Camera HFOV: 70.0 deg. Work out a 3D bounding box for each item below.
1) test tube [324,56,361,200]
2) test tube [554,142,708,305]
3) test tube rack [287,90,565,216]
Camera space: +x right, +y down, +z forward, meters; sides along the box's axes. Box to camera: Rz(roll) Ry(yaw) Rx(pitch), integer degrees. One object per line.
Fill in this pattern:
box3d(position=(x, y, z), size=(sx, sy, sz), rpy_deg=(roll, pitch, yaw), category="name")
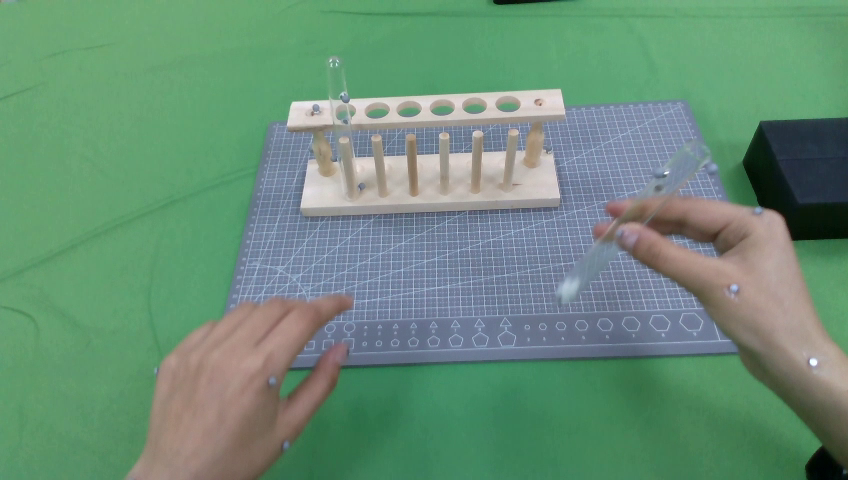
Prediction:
box3d(position=(-0.068, -0.089, 0.513), size=(0.017, 0.152, 0.017), rpy_deg=(0, 51, 0), category="test tube")
box3d(position=(0.122, -0.003, 0.378), size=(0.017, 0.151, 0.017), rpy_deg=(12, 49, -14), category="test tube")
box3d(position=(0.003, -0.078, 0.556), size=(0.242, 0.086, 0.066), rpy_deg=(-2, 51, 3), category="test tube rack")
